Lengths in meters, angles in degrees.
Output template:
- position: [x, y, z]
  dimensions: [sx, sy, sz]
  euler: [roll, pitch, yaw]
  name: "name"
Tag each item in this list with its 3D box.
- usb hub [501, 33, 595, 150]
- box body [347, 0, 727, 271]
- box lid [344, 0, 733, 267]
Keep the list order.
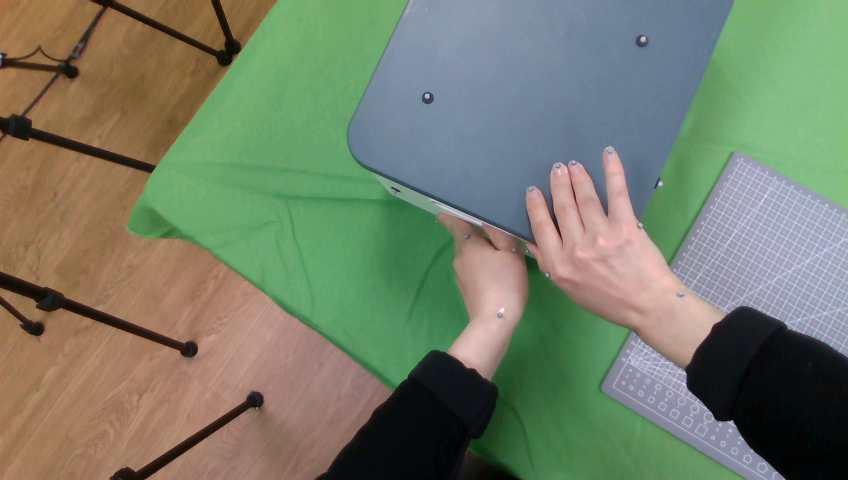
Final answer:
- position: [0.136, -0.163, 0.664]
  dimensions: [0.049, 0.025, 0.125]
  euler: [30, 83, 9]
  name: "usb hub"
- position: [0.119, -0.174, 0.606]
  dimensions: [0.254, 0.161, 0.363]
  euler: [24, 84, 6]
  name: "box body"
- position: [0.114, -0.184, 0.534]
  dimensions: [0.263, 0.015, 0.371]
  euler: [24, 84, 6]
  name: "box lid"
